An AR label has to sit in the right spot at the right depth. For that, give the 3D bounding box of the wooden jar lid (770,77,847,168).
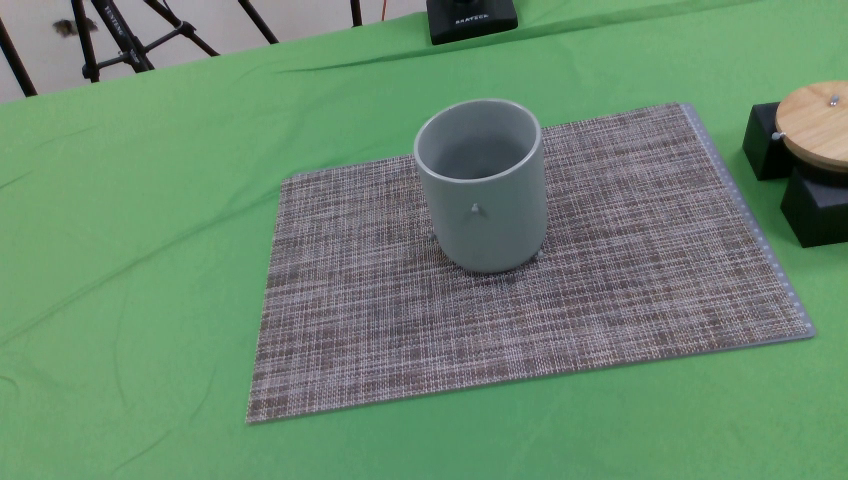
[{"bbox_3d":[0.353,-0.099,0.513,0.108,0.021,0.107,-7,50,9],"label":"wooden jar lid"}]

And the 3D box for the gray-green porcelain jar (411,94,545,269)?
[{"bbox_3d":[0.052,-0.045,0.533,0.106,0.128,0.105,-7,48,8],"label":"gray-green porcelain jar"}]
